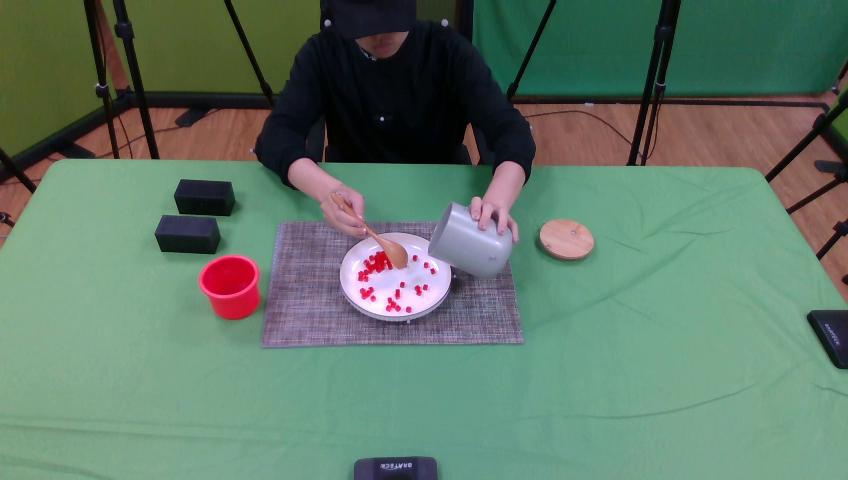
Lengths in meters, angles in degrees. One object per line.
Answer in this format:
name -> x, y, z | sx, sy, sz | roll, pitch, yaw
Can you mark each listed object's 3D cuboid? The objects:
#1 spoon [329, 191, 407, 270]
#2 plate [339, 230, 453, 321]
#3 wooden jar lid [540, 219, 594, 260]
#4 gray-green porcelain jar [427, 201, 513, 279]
spoon -> -0.098, -0.016, 1.072 | 0.194, 0.021, 0.041 | 42, 61, -18
plate -> -0.051, 0.067, 1.111 | 0.208, 0.039, 0.206 | 2, 46, -2
wooden jar lid -> 0.287, 0.001, 1.218 | 0.108, 0.021, 0.107 | 1, 46, -1
gray-green porcelain jar -> 0.084, 0.003, 1.062 | 0.127, 0.106, 0.105 | 23, 46, -9
